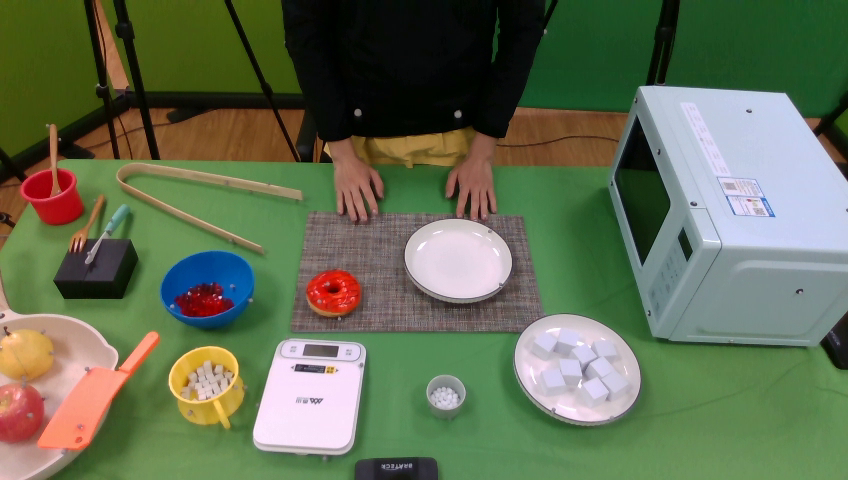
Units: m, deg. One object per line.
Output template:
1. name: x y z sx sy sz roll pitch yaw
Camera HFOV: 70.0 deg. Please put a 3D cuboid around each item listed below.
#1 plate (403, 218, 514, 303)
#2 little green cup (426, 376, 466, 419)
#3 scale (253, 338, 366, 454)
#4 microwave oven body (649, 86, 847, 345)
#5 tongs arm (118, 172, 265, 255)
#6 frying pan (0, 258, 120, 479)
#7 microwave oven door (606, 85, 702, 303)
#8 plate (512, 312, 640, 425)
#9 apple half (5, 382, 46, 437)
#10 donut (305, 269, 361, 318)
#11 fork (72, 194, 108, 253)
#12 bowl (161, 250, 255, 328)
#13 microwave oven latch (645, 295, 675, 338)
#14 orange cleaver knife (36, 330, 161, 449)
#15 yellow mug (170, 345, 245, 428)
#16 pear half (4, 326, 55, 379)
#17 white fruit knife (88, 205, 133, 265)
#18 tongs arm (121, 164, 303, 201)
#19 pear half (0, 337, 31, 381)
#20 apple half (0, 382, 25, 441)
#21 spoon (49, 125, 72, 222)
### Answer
1. plate: 0.064 0.042 1.146 0.209 0.038 0.208 3 46 -2
2. little green cup: 0.033 0.248 0.950 0.061 0.039 0.061 2 46 -2
3. scale: -0.175 0.236 0.951 0.149 0.032 0.199 4 45 0
4. microwave oven body: 0.567 -0.053 1.118 0.326 0.261 0.439 2 45 -1
5. tongs arm: -0.473 -0.054 1.212 0.386 0.028 0.028 23 57 17
6. frying pan: -0.647 0.164 0.936 0.307 0.103 0.485 -19 58 -22
7. microwave oven door: 0.422 -0.094 1.140 0.039 0.245 0.353 2 46 -1
8. plate: 0.246 0.213 0.999 0.208 0.039 0.206 2 46 -2
9. apple half: -0.567 0.244 0.877 0.033 0.082 0.080 -9 47 -7
10. donut: -0.160 0.094 1.075 0.099 0.048 0.098 3 45 -3
11. fork: -0.634 -0.036 1.158 0.028 0.019 0.206 -8 32 -8
12. bowl: -0.362 0.098 1.039 0.151 0.077 0.150 2 45 -2
13. microwave oven latch: 0.411 0.134 1.061 0.030 0.029 0.078 3 45 0
14. orange cleaver knife: -0.466 0.210 0.880 0.077 0.012 0.210 15 46 9
15. yellow mug: -0.322 0.230 0.922 0.100 0.064 0.130 -24 53 -25
16. pear half: -0.609 0.159 0.933 0.076 0.110 0.056 32 52 20
17. white fruit knife: -0.584 -0.013 1.129 0.016 0.027 0.206 0 32 -5
18. tongs arm: -0.444 -0.114 1.266 0.384 0.026 0.050 12 51 7
19. pear half: -0.632 0.185 0.920 0.070 0.088 0.031 29 49 20
20. apple half: -0.605 0.250 0.871 0.053 0.075 0.080 -9 51 -7
21. spoon: -0.718 -0.131 1.189 0.041 0.021 0.193 -4 90 -6
